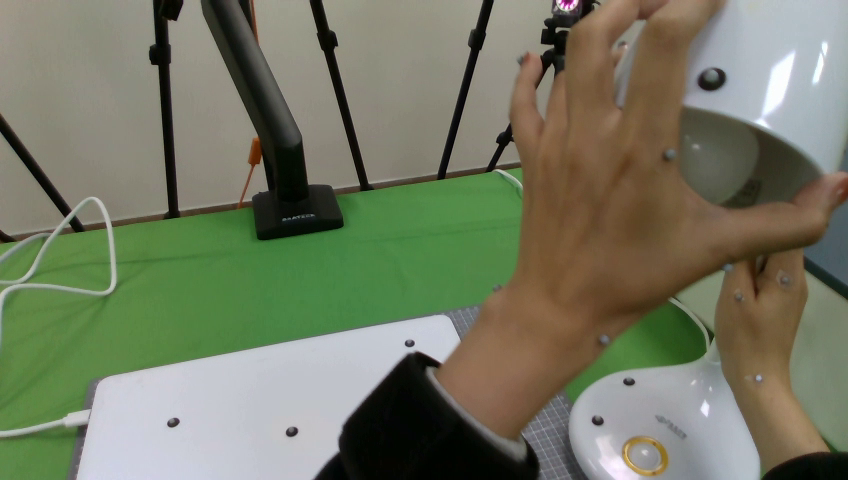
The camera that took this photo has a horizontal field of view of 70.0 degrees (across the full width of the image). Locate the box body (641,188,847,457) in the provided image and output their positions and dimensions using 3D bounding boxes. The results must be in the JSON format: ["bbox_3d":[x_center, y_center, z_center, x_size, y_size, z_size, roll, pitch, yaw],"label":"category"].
[{"bbox_3d":[0.430,0.029,0.628,0.255,0.162,0.360,-10,35,-14],"label":"box body"}]

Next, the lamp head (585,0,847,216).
[{"bbox_3d":[0.152,-0.084,0.291,0.111,0.113,0.122,21,77,29],"label":"lamp head"}]

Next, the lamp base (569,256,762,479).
[{"bbox_3d":[0.217,0.106,0.495,0.159,0.181,0.179,26,39,31],"label":"lamp base"}]

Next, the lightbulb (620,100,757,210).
[{"bbox_3d":[0.135,-0.065,0.286,0.059,0.107,0.059,27,2,0],"label":"lightbulb"}]

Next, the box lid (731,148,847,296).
[{"bbox_3d":[0.429,-0.034,0.589,0.264,0.015,0.367,-9,35,-15],"label":"box lid"}]

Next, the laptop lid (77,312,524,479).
[{"bbox_3d":[-0.113,0.168,0.532,0.357,0.013,0.239,-8,36,-11],"label":"laptop lid"}]

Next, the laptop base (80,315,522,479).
[{"bbox_3d":[-0.114,0.177,0.540,0.355,0.023,0.233,-9,38,-13],"label":"laptop base"}]
